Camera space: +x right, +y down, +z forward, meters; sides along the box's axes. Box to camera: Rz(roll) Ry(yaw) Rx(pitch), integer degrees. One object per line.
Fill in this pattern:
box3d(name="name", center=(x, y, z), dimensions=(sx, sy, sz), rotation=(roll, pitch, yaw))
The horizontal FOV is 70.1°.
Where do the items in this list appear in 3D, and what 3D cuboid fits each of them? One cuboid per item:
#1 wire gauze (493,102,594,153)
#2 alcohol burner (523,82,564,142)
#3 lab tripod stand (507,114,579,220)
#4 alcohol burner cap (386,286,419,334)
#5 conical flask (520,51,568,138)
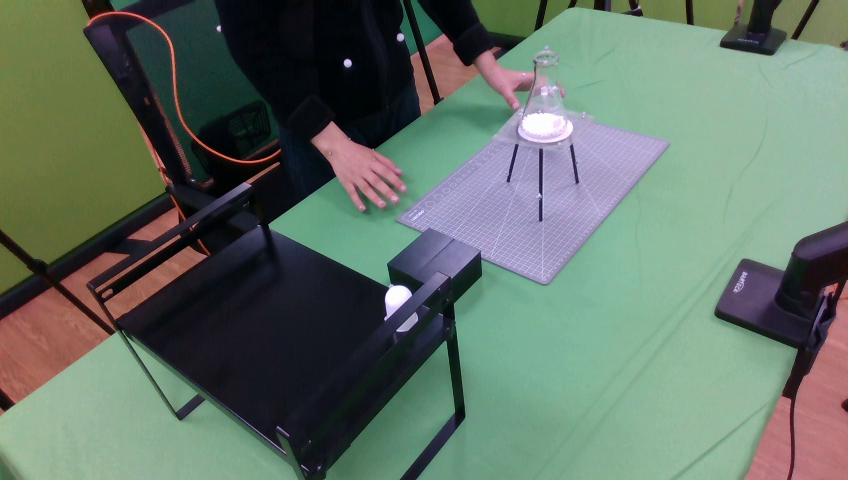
box3d(name="wire gauze", center=(0.191, -0.179, 0.965), dimensions=(0.120, 0.011, 0.125), rotation=(18, 49, 29))
box3d(name="alcohol burner", center=(0.230, -0.251, 1.161), dimensions=(0.078, 0.119, 0.077), rotation=(-4, 42, 4))
box3d(name="lab tripod stand", center=(0.199, -0.128, 1.005), dimensions=(0.148, 0.132, 0.147), rotation=(-3, 42, 3))
box3d(name="alcohol burner cap", center=(-0.024, 0.067, 0.604), dimensions=(0.034, 0.048, 0.033), rotation=(-4, 39, 4))
box3d(name="conical flask", center=(0.185, -0.223, 0.926), dimensions=(0.075, 0.122, 0.075), rotation=(-4, 41, 4))
